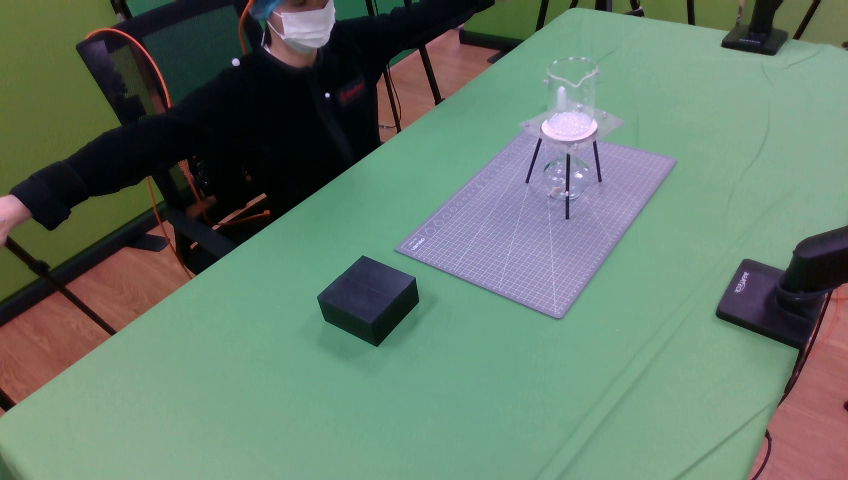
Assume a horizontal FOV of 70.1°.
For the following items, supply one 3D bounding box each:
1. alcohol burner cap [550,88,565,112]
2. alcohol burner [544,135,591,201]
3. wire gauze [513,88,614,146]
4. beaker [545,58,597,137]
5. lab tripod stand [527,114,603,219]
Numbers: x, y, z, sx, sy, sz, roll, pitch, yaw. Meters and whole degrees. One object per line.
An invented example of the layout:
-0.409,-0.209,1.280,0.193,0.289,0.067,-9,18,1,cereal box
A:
0.281,-0.296,1.271,0.034,0.048,0.033,-5,42,5,alcohol burner cap
0.240,-0.125,1.012,0.078,0.119,0.077,-5,42,5,alcohol burner
0.220,-0.193,0.952,0.120,0.011,0.125,22,53,27,wire gauze
0.225,-0.215,0.927,0.074,0.101,0.083,-6,40,5,beaker
0.234,-0.129,1.002,0.148,0.132,0.147,-6,40,6,lab tripod stand
